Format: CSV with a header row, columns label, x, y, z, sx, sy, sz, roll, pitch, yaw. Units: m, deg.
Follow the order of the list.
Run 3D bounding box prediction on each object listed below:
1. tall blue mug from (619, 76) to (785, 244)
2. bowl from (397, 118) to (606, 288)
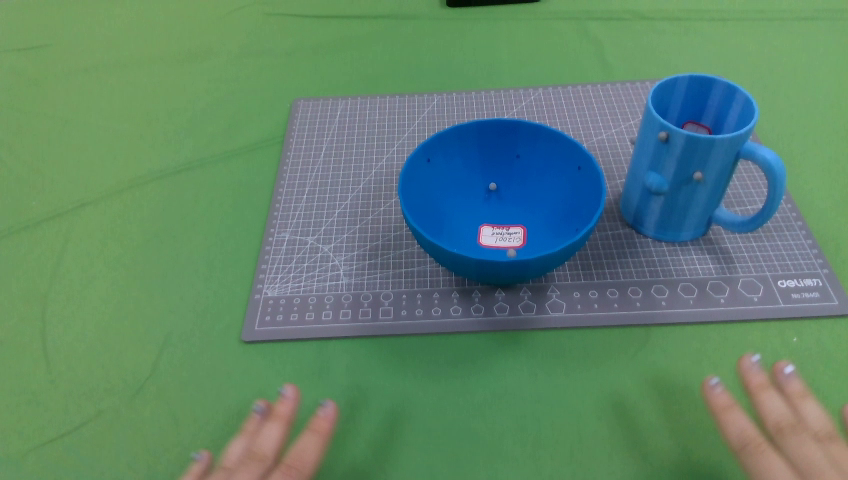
label,x,y,z,sx,sy,sz,roll,pitch,yaw
tall blue mug,0.215,-0.057,0.468,0.107,0.109,0.077,12,50,15
bowl,0.057,-0.016,0.465,0.151,0.077,0.150,-2,49,2
